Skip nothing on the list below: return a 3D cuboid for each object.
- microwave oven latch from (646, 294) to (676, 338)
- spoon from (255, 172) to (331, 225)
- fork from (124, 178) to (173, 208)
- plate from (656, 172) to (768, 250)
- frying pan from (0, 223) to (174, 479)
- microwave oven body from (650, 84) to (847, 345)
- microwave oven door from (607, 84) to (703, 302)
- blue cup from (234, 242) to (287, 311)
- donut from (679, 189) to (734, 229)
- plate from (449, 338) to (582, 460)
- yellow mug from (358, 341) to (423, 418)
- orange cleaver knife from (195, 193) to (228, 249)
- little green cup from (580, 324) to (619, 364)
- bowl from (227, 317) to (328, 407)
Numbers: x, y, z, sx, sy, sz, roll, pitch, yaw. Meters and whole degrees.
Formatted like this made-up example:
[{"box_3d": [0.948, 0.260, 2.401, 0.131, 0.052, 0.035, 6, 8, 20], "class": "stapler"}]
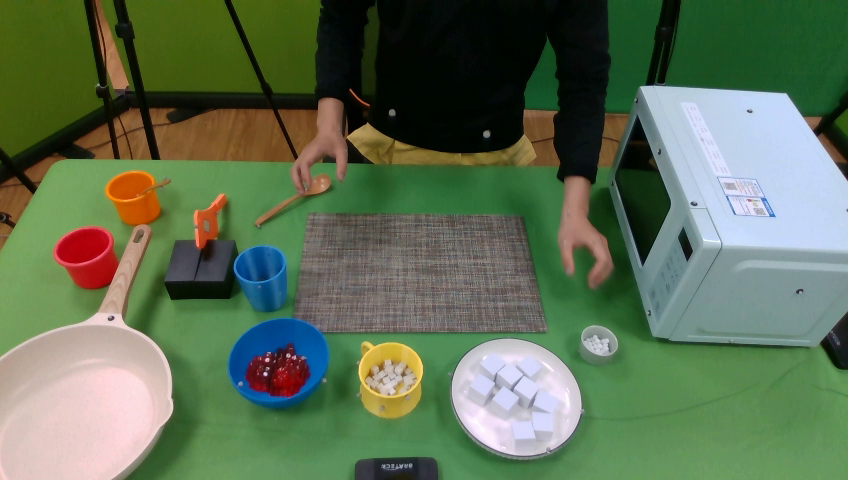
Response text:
[{"box_3d": [0.412, 0.133, 1.061, 0.030, 0.029, 0.078, 3, 46, 0], "class": "microwave oven latch"}, {"box_3d": [-0.272, -0.087, 1.257, 0.041, 0.022, 0.193, 43, 57, 17], "class": "spoon"}, {"box_3d": [-0.525, -0.090, 1.154, 0.207, 0.019, 0.028, -17, 27, 45], "class": "fork"}, {"box_3d": [0.557, -0.053, 1.186, 0.209, 0.038, 0.208, 2, 45, -2], "class": "plate"}, {"box_3d": [-0.504, 0.169, 0.941, 0.307, 0.103, 0.485, 5, 54, -1], "class": "frying pan"}, {"box_3d": [0.569, -0.054, 1.116, 0.326, 0.261, 0.439, 2, 46, -1], "class": "microwave oven body"}, {"box_3d": [0.424, -0.096, 1.138, 0.039, 0.245, 0.353, 3, 46, -1], "class": "microwave oven door"}, {"box_3d": [-0.276, 0.071, 1.052, 0.093, 0.101, 0.092, 1, 48, -1], "class": "blue cup"}, {"box_3d": [0.545, -0.062, 1.175, 0.099, 0.048, 0.098, 0, 45, 0], "class": "donut"}, {"box_3d": [0.141, 0.251, 0.955, 0.208, 0.039, 0.206, 2, 46, -2], "class": "plate"}, {"box_3d": [-0.062, 0.210, 0.961, 0.100, 0.064, 0.130, -29, 54, -27], "class": "yellow mug"}, {"box_3d": [-0.406, -0.041, 1.163, 0.012, 0.077, 0.210, 0, 18, -3], "class": "orange cleaver knife"}, {"box_3d": [0.296, 0.180, 1.031, 0.061, 0.039, 0.061, 2, 45, -2], "class": "little green cup"}, {"box_3d": [-0.222, 0.203, 0.947, 0.151, 0.077, 0.150, 2, 46, -2], "class": "bowl"}]
